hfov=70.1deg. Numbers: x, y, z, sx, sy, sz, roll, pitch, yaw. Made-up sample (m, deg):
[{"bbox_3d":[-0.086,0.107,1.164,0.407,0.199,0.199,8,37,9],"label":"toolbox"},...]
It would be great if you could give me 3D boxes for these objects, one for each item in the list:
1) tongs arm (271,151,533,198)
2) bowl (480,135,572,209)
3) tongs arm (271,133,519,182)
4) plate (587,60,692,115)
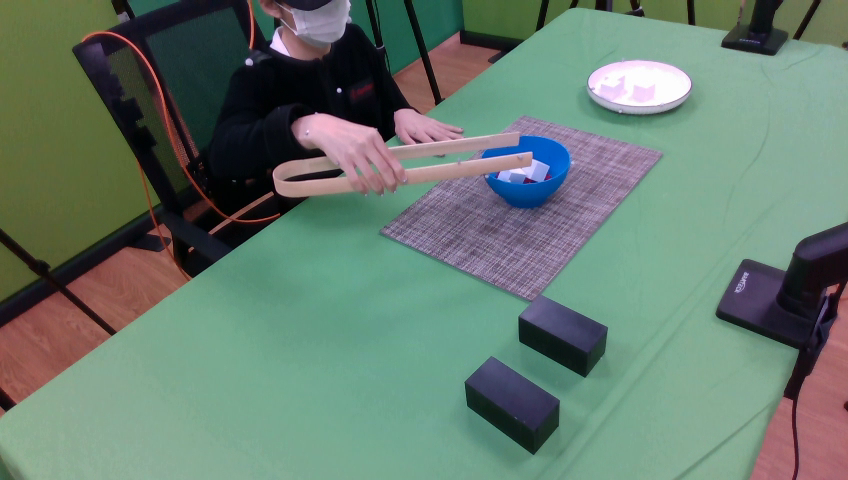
[{"bbox_3d":[-0.028,-0.103,0.895,0.386,0.026,0.050,-10,40,-11],"label":"tongs arm"},{"bbox_3d":[0.172,-0.106,1.024,0.151,0.077,0.150,-4,40,4],"label":"bowl"},{"bbox_3d":[-0.036,-0.126,0.924,0.389,0.028,0.028,-10,44,-11],"label":"tongs arm"},{"bbox_3d":[0.445,-0.313,1.263,0.209,0.038,0.208,-5,40,4],"label":"plate"}]
